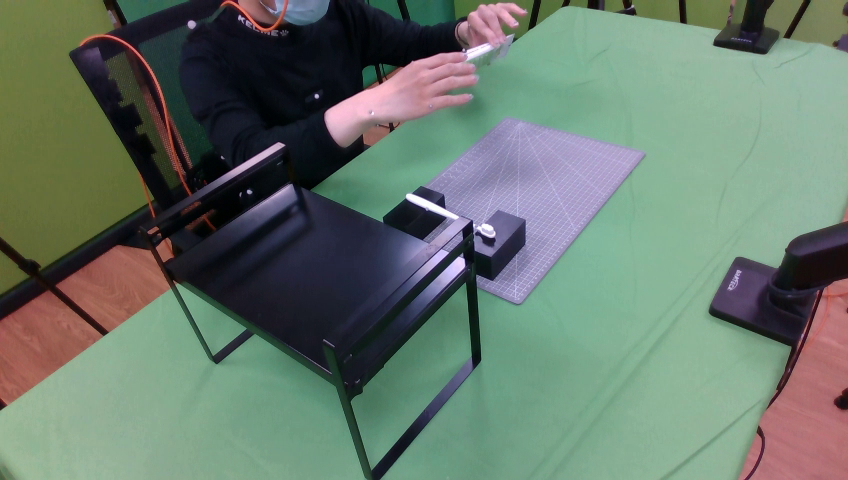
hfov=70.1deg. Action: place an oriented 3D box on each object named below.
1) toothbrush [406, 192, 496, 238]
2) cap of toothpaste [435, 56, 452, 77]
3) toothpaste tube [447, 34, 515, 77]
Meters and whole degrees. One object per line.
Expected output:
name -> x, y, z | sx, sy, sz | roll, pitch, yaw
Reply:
toothbrush -> 0.038, -0.043, 0.937 | 0.180, 0.017, 0.014 | 26, 63, 35
cap of toothpaste -> 0.032, -0.292, 1.023 | 0.011, 0.037, 0.037 | -13, 26, 48
toothpaste tube -> 0.093, -0.328, 1.080 | 0.166, 0.055, 0.034 | -28, 76, -27
